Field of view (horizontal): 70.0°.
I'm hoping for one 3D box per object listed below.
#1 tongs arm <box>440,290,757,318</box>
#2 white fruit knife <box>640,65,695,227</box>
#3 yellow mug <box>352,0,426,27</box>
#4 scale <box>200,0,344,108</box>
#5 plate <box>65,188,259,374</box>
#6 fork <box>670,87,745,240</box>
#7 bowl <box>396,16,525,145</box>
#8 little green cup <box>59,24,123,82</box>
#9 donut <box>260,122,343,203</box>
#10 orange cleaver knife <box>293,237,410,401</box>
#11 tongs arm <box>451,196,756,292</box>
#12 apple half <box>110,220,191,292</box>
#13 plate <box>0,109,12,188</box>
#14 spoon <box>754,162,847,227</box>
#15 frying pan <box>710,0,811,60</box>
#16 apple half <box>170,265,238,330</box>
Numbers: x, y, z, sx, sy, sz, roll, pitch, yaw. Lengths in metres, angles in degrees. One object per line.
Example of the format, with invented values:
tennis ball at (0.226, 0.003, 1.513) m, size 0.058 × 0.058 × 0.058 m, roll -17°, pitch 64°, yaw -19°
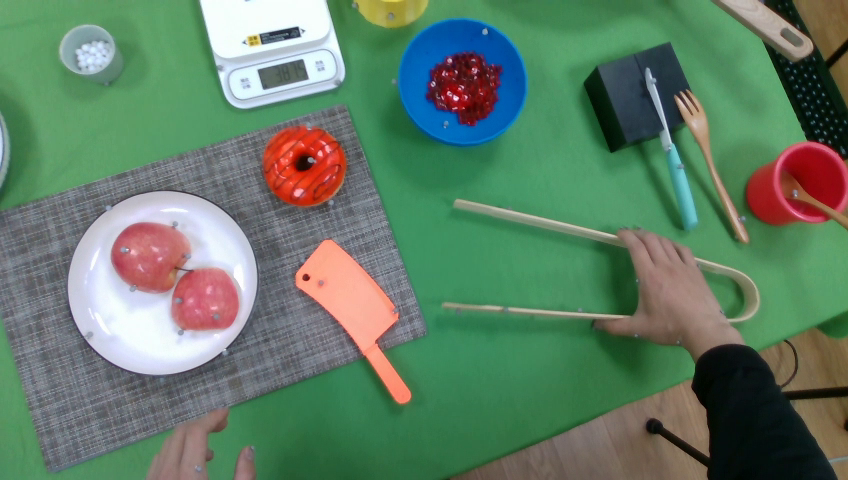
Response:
tongs arm at (0.212, 0.069, 0.727) m, size 0.385 × 0.026 × 0.050 m, roll 5°, pitch 76°, yaw -5°
white fruit knife at (0.296, -0.112, 0.739) m, size 0.016 × 0.027 × 0.208 m, roll -22°, pitch 99°, yaw -6°
yellow mug at (-0.055, -0.334, 0.745) m, size 0.131 × 0.064 × 0.100 m, roll 38°, pitch 82°, yaw 2°
scale at (-0.192, -0.272, 0.744) m, size 0.149 × 0.031 × 0.200 m, roll -15°, pitch 85°, yaw -6°
plate at (-0.291, 0.045, 0.689) m, size 0.209 × 0.038 × 0.208 m, roll 1°, pitch 83°, yaw -4°
fork at (0.355, -0.092, 0.749) m, size 0.028 × 0.018 × 0.208 m, roll -29°, pitch 101°, yaw -9°
bowl at (0.040, -0.180, 0.728) m, size 0.151 × 0.077 × 0.151 m, roll 1°, pitch 83°, yaw -4°
little green cup at (-0.391, -0.219, 0.718) m, size 0.061 × 0.038 × 0.061 m, roll 1°, pitch 83°, yaw -4°
donut at (-0.144, -0.091, 0.715) m, size 0.099 × 0.048 × 0.099 m, roll 0°, pitch 84°, yaw -3°
orange cleaver knife at (-0.071, 0.090, 0.710) m, size 0.077 × 0.012 × 0.211 m, roll -38°, pitch 85°, yaw -14°
tongs arm at (0.220, 0.002, 0.741) m, size 0.388 × 0.028 × 0.028 m, roll 15°, pitch 72°, yaw -3°
apple half at (-0.310, 0.014, 0.676) m, size 0.074 × 0.053 × 0.080 m, roll 31°, pitch 81°, yaw 4°
plate at (-0.575, -0.098, 0.689) m, size 0.208 × 0.039 × 0.207 m, roll 1°, pitch 83°, yaw -4°
spoon at (0.467, -0.038, 0.711) m, size 0.041 × 0.022 × 0.191 m, roll -25°, pitch 41°, yaw -8°
frying pan at (0.273, -0.380, 0.758) m, size 0.486 × 0.103 × 0.306 m, roll 42°, pitch 83°, yaw 10°
apple half at (-0.254, 0.065, 0.683) m, size 0.081 × 0.033 × 0.081 m, roll 0°, pitch 85°, yaw -2°
